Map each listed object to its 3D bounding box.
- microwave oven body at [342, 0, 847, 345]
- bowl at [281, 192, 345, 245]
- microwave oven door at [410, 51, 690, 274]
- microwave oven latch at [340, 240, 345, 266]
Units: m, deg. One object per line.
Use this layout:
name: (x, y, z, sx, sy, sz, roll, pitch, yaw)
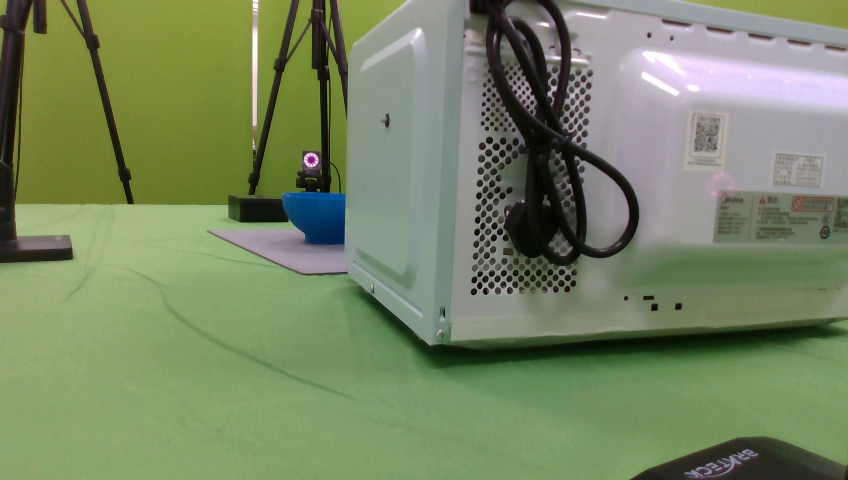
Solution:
microwave oven body: (0.169, -0.060, 0.573, 0.444, 0.260, 0.324, 1, 7, -20)
bowl: (-0.158, -0.035, 0.991, 0.151, 0.077, 0.151, 3, 7, 0)
microwave oven door: (0.161, -0.084, 0.723, 0.357, 0.243, 0.039, 0, 8, -20)
microwave oven latch: (-0.052, 0.016, 0.662, 0.079, 0.029, 0.030, 1, 7, -19)
